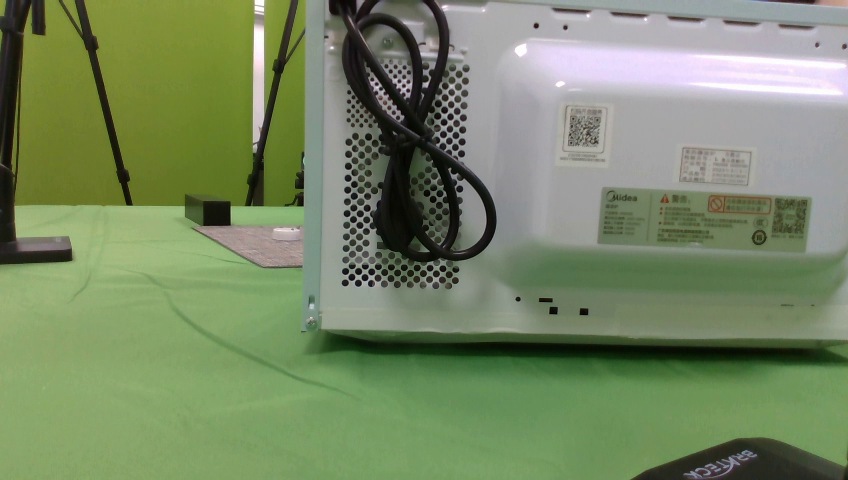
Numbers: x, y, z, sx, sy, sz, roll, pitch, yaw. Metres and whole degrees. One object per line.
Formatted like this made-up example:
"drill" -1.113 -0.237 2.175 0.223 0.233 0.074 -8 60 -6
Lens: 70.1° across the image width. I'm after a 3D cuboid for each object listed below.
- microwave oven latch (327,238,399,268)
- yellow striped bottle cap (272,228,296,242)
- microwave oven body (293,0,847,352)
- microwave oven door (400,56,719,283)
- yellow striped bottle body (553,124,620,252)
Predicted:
"microwave oven latch" -0.069 0.015 0.694 0.079 0.029 0.030 3 7 -3
"yellow striped bottle cap" -0.232 -0.008 1.011 0.044 0.018 0.044 4 8 0
"microwave oven body" 0.122 -0.055 0.550 0.442 0.260 0.325 3 7 -5
"microwave oven door" 0.155 -0.077 0.698 0.356 0.243 0.039 2 8 -5
"yellow striped bottle body" 0.157 -0.051 0.586 0.063 0.120 0.063 0 5 0
